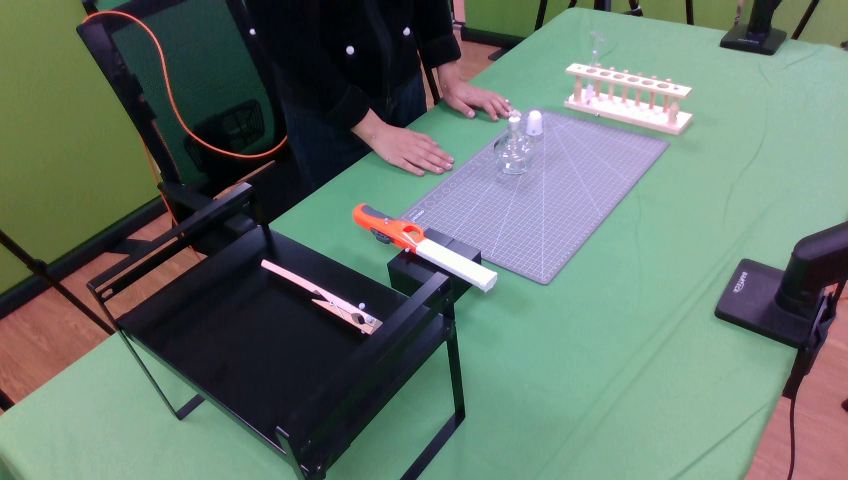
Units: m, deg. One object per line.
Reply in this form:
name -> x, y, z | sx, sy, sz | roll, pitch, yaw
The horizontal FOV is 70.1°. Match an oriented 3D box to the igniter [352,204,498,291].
igniter -> -0.009, 0.005, 0.895 | 0.274, 0.025, 0.057 | 27, 48, 32

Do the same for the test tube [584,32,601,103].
test tube -> 0.333, -0.338, 1.198 | 0.017, 0.151, 0.017 | -3, 45, 3

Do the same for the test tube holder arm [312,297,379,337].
test tube holder arm -> -0.082, 0.075, 0.622 | 0.087, 0.015, 0.010 | 27, 80, 33

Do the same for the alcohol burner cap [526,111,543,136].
alcohol burner cap -> 0.219, -0.232, 1.196 | 0.034, 0.048, 0.033 | -4, 41, 4

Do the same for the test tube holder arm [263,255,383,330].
test tube holder arm -> -0.113, 0.054, 0.647 | 0.177, 0.015, 0.013 | 26, 80, 33

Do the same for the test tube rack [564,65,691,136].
test tube rack -> 0.404, -0.288, 1.204 | 0.240, 0.085, 0.067 | 24, 49, 32

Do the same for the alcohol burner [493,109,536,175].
alcohol burner -> 0.163, -0.179, 1.087 | 0.078, 0.119, 0.077 | -5, 39, 4
